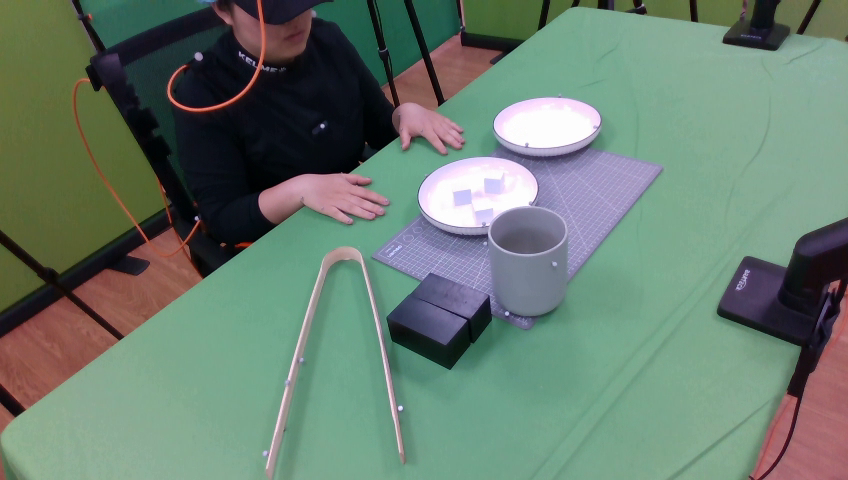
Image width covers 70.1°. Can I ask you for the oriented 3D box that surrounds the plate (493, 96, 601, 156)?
[{"bbox_3d":[0.238,-0.218,1.180,0.209,0.038,0.208,-4,39,4],"label":"plate"}]

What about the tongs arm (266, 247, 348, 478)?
[{"bbox_3d":[-0.151,0.142,0.831,0.051,0.026,0.383,-6,39,5],"label":"tongs arm"}]

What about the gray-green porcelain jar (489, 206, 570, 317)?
[{"bbox_3d":[0.145,0.034,0.829,0.106,0.127,0.105,-5,40,5],"label":"gray-green porcelain jar"}]

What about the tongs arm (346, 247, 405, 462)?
[{"bbox_3d":[-0.070,0.132,0.832,0.028,0.028,0.384,-17,40,-3],"label":"tongs arm"}]

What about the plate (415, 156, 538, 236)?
[{"bbox_3d":[0.090,-0.072,1.034,0.207,0.039,0.206,-5,40,5],"label":"plate"}]
